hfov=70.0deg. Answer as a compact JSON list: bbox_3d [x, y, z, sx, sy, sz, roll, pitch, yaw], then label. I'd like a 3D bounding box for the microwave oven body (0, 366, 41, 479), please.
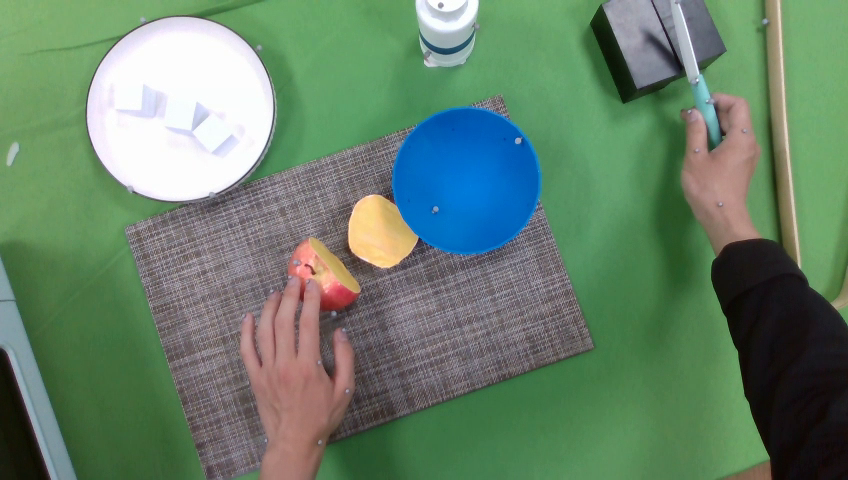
[{"bbox_3d":[-0.554,0.242,0.542,0.326,0.260,0.441,-21,87,-1],"label":"microwave oven body"}]

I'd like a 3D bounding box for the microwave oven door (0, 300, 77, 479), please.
[{"bbox_3d":[-0.402,0.227,0.535,0.039,0.244,0.355,-22,86,0],"label":"microwave oven door"}]

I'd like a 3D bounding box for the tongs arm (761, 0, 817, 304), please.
[{"bbox_3d":[0.394,-0.122,0.665,0.028,0.028,0.387,-3,87,-1],"label":"tongs arm"}]

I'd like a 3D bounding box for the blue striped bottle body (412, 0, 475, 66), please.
[{"bbox_3d":[0.020,-0.232,0.630,0.063,0.121,0.063,0,86,1],"label":"blue striped bottle body"}]

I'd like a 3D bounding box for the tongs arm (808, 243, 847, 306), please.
[{"bbox_3d":[0.475,-0.115,0.659,0.051,0.026,0.384,10,88,3],"label":"tongs arm"}]

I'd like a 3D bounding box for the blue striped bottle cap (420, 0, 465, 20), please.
[{"bbox_3d":[0.018,-0.236,0.579,0.044,0.020,0.044,0,86,-1],"label":"blue striped bottle cap"}]

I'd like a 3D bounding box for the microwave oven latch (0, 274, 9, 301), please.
[{"bbox_3d":[-0.477,0.030,0.649,0.030,0.029,0.079,-21,87,-1],"label":"microwave oven latch"}]

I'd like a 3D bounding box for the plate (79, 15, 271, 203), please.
[{"bbox_3d":[-0.270,-0.141,0.673,0.208,0.039,0.207,0,87,1],"label":"plate"}]

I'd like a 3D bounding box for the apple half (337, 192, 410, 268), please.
[{"bbox_3d":[-0.056,-0.011,0.656,0.081,0.032,0.081,0,96,-3],"label":"apple half"}]

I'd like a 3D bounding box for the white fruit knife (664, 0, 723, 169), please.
[{"bbox_3d":[0.276,-0.165,0.626,0.016,0.027,0.209,-28,111,-4],"label":"white fruit knife"}]

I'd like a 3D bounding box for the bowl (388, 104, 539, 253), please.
[{"bbox_3d":[0.040,-0.059,0.638,0.151,0.077,0.151,0,87,2],"label":"bowl"}]

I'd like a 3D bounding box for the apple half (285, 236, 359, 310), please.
[{"bbox_3d":[-0.113,0.042,0.637,0.053,0.075,0.080,-43,82,6],"label":"apple half"}]
